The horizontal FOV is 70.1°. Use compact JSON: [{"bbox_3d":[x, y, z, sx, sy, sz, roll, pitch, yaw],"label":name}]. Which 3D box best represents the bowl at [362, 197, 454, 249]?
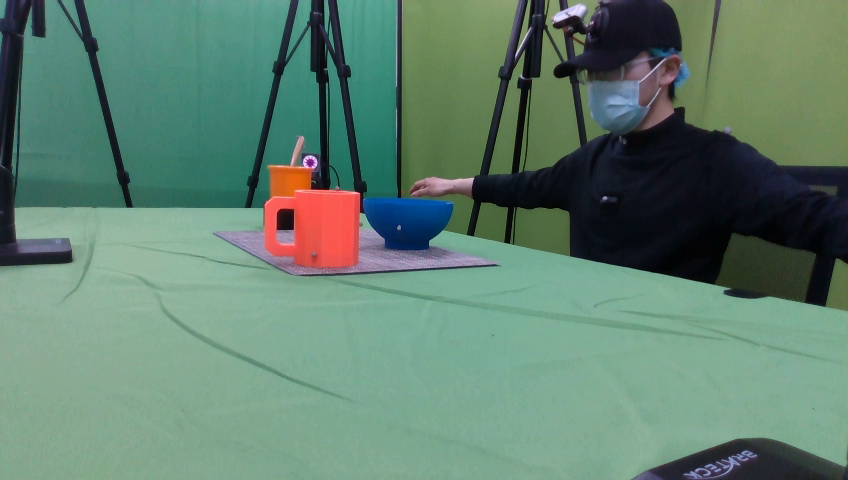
[{"bbox_3d":[-0.027,-0.029,0.991,0.151,0.077,0.151,2,7,0],"label":"bowl"}]

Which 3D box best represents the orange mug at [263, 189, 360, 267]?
[{"bbox_3d":[-0.147,-0.019,0.794,0.127,0.100,0.083,5,6,-19],"label":"orange mug"}]

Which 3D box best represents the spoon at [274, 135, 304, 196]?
[{"bbox_3d":[-0.270,-0.153,1.246,0.041,0.193,0.022,0,-37,8],"label":"spoon"}]
